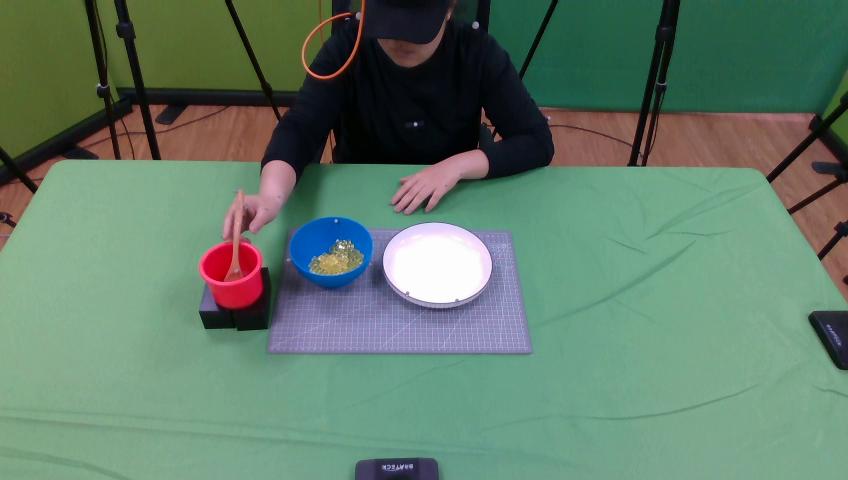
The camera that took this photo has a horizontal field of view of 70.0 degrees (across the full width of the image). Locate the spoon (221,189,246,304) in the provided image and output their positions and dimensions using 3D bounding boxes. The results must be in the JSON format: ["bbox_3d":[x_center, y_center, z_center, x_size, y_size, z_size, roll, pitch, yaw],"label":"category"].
[{"bbox_3d":[-0.312,0.010,1.011,0.041,0.021,0.193,4,90,1],"label":"spoon"}]

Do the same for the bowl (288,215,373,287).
[{"bbox_3d":[-0.168,0.034,1.109,0.151,0.077,0.150,2,46,-2],"label":"bowl"}]

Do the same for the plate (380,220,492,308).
[{"bbox_3d":[0.022,0.048,1.137,0.208,0.039,0.206,2,46,-2],"label":"plate"}]
